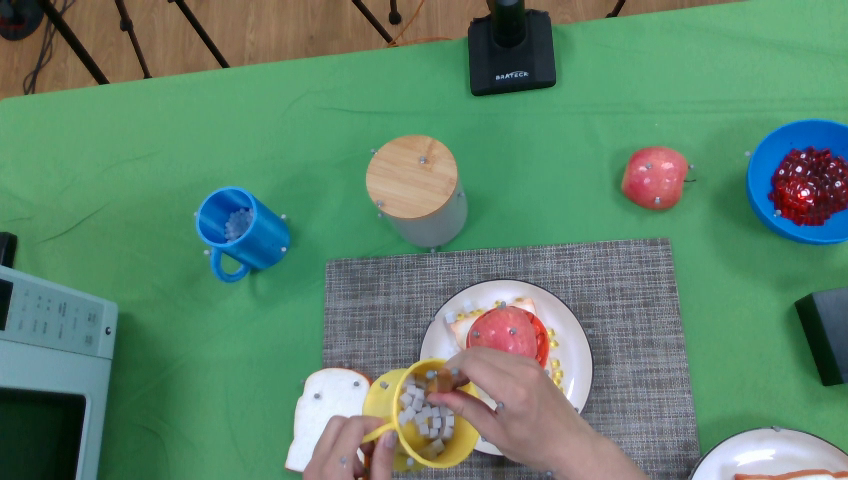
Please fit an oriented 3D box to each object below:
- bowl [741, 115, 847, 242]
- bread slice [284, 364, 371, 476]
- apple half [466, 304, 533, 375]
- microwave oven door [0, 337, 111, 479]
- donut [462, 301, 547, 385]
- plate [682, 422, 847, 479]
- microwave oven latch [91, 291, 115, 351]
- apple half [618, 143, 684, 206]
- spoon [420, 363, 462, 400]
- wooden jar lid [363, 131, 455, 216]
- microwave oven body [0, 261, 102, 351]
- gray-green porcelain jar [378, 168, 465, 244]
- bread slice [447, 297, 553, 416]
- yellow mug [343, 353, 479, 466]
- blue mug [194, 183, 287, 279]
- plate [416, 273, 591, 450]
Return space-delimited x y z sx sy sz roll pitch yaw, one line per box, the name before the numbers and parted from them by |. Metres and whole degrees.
bowl | 0.445 -0.061 0.713 0.151 0.077 0.150 -3 74 10
bread slice | -0.117 0.221 0.759 0.104 0.019 0.131 4 76 10
apple half | 0.084 0.109 0.676 0.081 0.033 0.081 -5 71 15
microwave oven door | -0.460 0.290 0.664 0.039 0.245 0.353 -4 73 10
donut | 0.094 0.120 0.710 0.099 0.048 0.098 -3 74 10
plate | 0.374 0.300 0.639 0.209 0.038 0.208 -3 73 10
microwave oven latch | -0.443 0.110 0.822 0.030 0.030 0.078 0 74 10
apple half | 0.287 -0.088 0.763 0.074 0.054 0.080 18 78 18
spoon | 0.016 0.126 0.526 0.041 0.194 0.021 2 74 1
wooden jar lid | -0.017 -0.076 0.707 0.108 0.021 0.107 -2 71 7
microwave oven body | -0.603 0.261 0.704 0.325 0.262 0.439 -4 73 9
gray-green porcelain jar | -0.004 -0.057 0.767 0.105 0.127 0.105 -3 73 10
bread slice | 0.099 0.144 0.737 0.107 0.018 0.133 -20 67 2
yellow mug | -0.017 0.168 0.580 0.131 0.064 0.099 -11 77 -36
blue mug | -0.247 -0.004 0.805 0.082 0.106 0.116 16 77 15
plate | 0.094 0.144 0.732 0.207 0.039 0.206 -3 73 10
